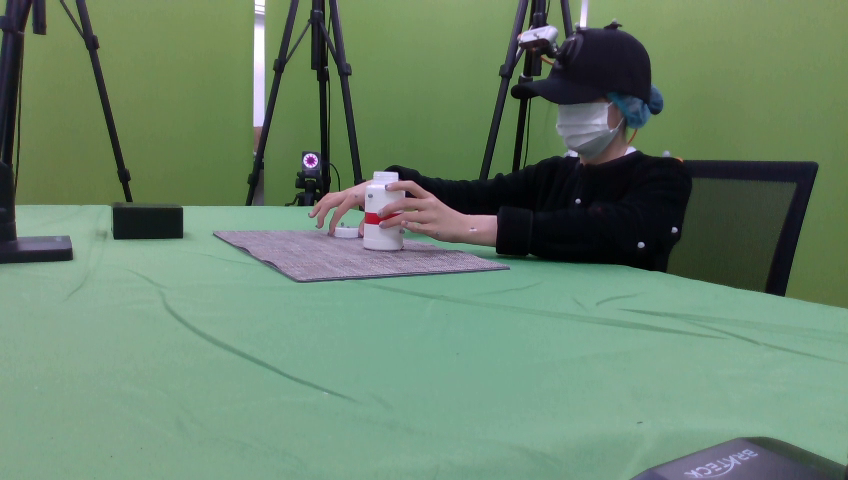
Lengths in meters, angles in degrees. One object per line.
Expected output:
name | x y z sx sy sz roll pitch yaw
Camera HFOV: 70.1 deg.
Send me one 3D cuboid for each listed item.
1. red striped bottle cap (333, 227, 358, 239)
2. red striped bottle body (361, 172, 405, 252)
red striped bottle cap | -0.139 -0.013 1.068 0.044 0.017 0.044 1 8 0
red striped bottle body | -0.062 -0.044 0.933 0.063 0.119 0.063 4 7 0
